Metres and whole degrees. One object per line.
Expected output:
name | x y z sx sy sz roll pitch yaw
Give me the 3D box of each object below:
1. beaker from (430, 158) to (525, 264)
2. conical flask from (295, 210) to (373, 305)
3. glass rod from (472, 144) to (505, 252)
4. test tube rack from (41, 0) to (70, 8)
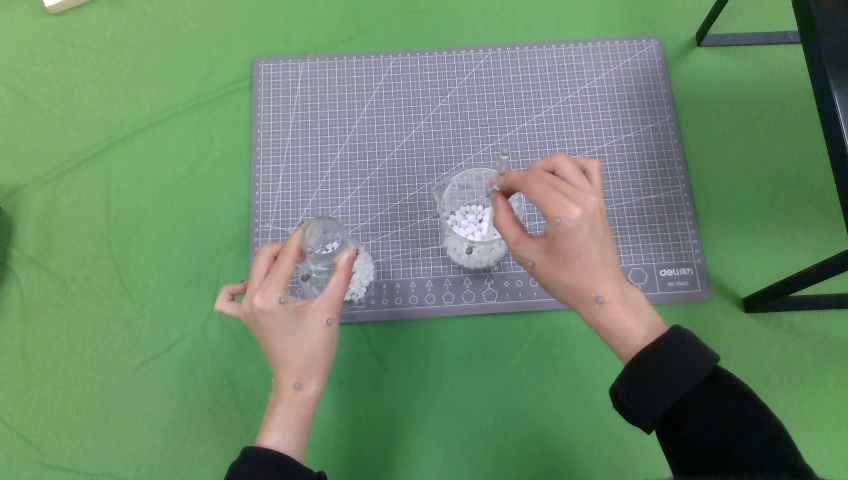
beaker | 0.046 -0.023 0.562 0.084 0.101 0.073 20 74 7
conical flask | -0.085 0.011 0.539 0.075 0.122 0.075 1 72 -2
glass rod | 0.050 -0.027 0.498 0.008 0.201 0.008 0 69 0
test tube rack | -0.331 -0.351 0.667 0.242 0.085 0.066 -24 75 -6
